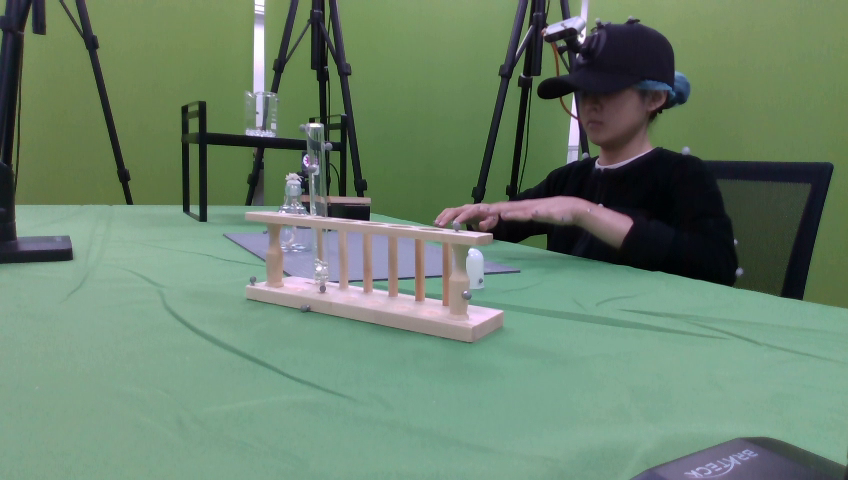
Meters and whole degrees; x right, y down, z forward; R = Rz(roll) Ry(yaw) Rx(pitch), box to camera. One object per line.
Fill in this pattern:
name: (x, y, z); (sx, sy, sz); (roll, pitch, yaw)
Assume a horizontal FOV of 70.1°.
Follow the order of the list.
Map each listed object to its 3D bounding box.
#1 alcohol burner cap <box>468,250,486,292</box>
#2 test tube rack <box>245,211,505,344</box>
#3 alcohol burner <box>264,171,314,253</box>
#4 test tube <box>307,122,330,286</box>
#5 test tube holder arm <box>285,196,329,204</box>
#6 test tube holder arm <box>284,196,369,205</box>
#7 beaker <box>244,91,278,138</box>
alcohol burner cap: (0.056, 0.035, 0.690); (0.034, 0.048, 0.034); (2, 7, 0)
test tube rack: (-0.049, 0.025, 0.547); (0.241, 0.085, 0.067); (7, 8, 29)
alcohol burner: (-0.194, -0.042, 0.888); (0.078, 0.119, 0.078); (3, 5, 0)
test tube: (-0.094, -0.030, 0.542); (0.017, 0.150, 0.017); (1, 17, 0)
test tube holder arm: (-0.231, -0.079, 1.192); (0.088, 0.015, 0.010); (0, 5, -29)
test tube holder arm: (-0.194, -0.080, 1.220); (0.179, 0.015, 0.013); (0, 5, -31)
beaker: (-0.367, -0.280, 1.356); (0.074, 0.100, 0.084); (4, 8, 6)
